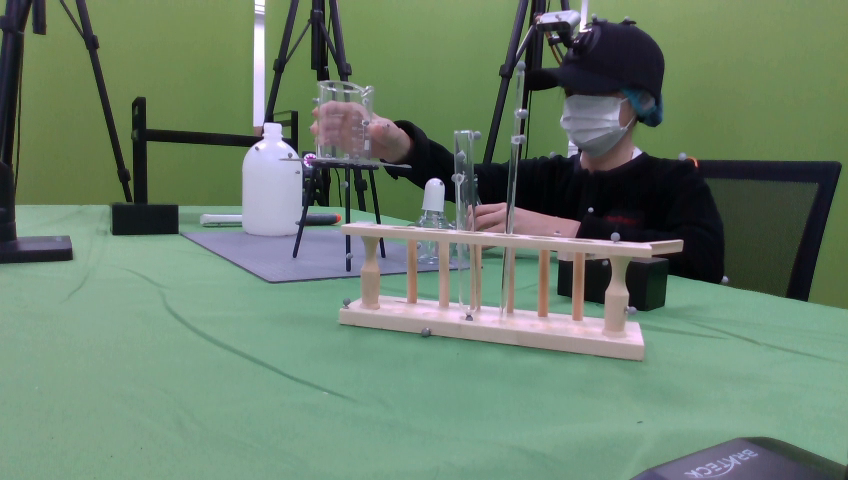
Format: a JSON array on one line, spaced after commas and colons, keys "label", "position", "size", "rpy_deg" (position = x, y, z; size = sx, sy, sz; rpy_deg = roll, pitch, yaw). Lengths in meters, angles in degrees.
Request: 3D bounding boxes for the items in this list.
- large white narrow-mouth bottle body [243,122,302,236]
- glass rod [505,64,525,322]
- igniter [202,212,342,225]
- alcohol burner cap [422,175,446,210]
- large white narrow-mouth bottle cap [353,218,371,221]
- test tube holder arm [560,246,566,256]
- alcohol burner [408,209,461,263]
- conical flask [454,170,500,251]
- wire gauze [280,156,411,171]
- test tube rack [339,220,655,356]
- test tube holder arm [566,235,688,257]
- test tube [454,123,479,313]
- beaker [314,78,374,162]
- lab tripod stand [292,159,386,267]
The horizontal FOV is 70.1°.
[{"label": "large white narrow-mouth bottle body", "position": [-0.264, -0.109, 1.061], "size": [0.102, 0.194, 0.102], "rpy_deg": [2, 8, 0]}, {"label": "glass rod", "position": [0.069, -0.029, 0.457], "size": [0.008, 0.199, 0.008], "rpy_deg": [1, 15, 0]}, {"label": "igniter", "position": [-0.298, -0.043, 1.216], "size": [0.278, 0.025, 0.057], "rpy_deg": [-3, -2, -32]}, {"label": "alcohol burner cap", "position": [0.016, -0.065, 0.830], "size": [0.034, 0.048, 0.034], "rpy_deg": [7, 5, 0]}, {"label": "large white narrow-mouth bottle cap", "position": [-0.120, -0.029, 1.184], "size": [0.038, 0.024, 0.037], "rpy_deg": [2, 8, 0]}, {"label": "test tube holder arm", "position": [0.173, 0.007, 0.611], "size": [0.088, 0.015, 0.010], "rpy_deg": [-3, 10, -30]}, {"label": "alcohol burner", "position": [0.014, -0.029, 0.834], "size": [0.078, 0.119, 0.078], "rpy_deg": [0, 6, 0]}, {"label": "conical flask", "position": [0.077, -0.048, 0.957], "size": [0.075, 0.122, 0.075], "rpy_deg": [-9, 6, 1]}, {"label": "wire gauze", "position": [-0.103, -0.103, 0.785], "size": [0.121, 0.011, 0.126], "rpy_deg": [11, 8, 42]}, {"label": "test tube rack", "position": [0.056, 0.032, 0.495], "size": [0.242, 0.085, 0.067], "rpy_deg": [4, 7, 15]}, {"label": "test tube holder arm", "position": [0.215, 0.006, 0.629], "size": [0.179, 0.015, 0.013], "rpy_deg": [-3, 10, -30]}, {"label": "test tube", "position": [0.034, -0.016, 0.477], "size": [0.017, 0.150, 0.017], "rpy_deg": [-2, 9, 1]}, {"label": "beaker", "position": [-0.101, -0.151, 0.775], "size": [0.074, 0.100, 0.083], "rpy_deg": [-2, 8, -39]}, {"label": "lab tripod stand", "position": [-0.105, -0.039, 0.797], "size": [0.148, 0.131, 0.148], "rpy_deg": [2, 5, 0]}]
